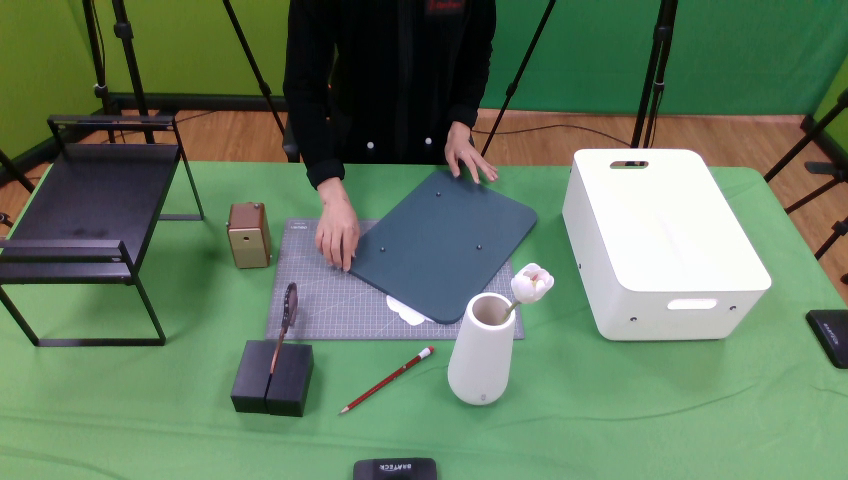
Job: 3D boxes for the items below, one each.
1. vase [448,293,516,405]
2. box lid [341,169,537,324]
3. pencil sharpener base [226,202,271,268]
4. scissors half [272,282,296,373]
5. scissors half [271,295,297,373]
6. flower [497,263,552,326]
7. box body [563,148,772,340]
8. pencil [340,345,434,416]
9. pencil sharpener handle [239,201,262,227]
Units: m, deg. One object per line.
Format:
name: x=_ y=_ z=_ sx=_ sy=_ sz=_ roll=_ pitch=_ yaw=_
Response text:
vase: x=0.091 y=0.169 z=0.921 sx=0.098 sy=0.201 sz=0.097 roll=3 pitch=47 yaw=-3
box lid: x=0.038 y=-0.004 z=1.210 sx=0.262 sy=0.015 sz=0.371 roll=27 pitch=50 yaw=21
pencil sharpener base: x=-0.323 y=-0.010 z=1.123 sx=0.061 sy=0.107 sz=0.076 roll=-3 pitch=46 yaw=-7
scissors half: x=-0.229 y=0.139 z=0.986 sx=0.013 sy=0.040 sz=0.174 roll=4 pitch=51 yaw=-2
scissors half: x=-0.230 y=0.154 z=1.000 sx=0.013 sy=0.040 sz=0.174 roll=0 pitch=34 yaw=2
flower: x=0.103 y=0.121 z=0.853 sx=0.044 sy=0.363 sz=0.038 roll=-2 pitch=64 yaw=-10
box body: x=0.421 y=0.003 z=1.130 sx=0.254 sy=0.161 sz=0.361 roll=0 pitch=46 yaw=-5
pencil: x=-0.058 y=0.228 z=0.984 sx=0.194 sy=0.012 sz=0.012 roll=-32 pitch=57 yaw=-28
pencil sharpener handle: x=-0.325 y=-0.055 z=1.150 sx=0.036 sy=0.068 sz=0.030 roll=-13 pitch=46 yaw=4
